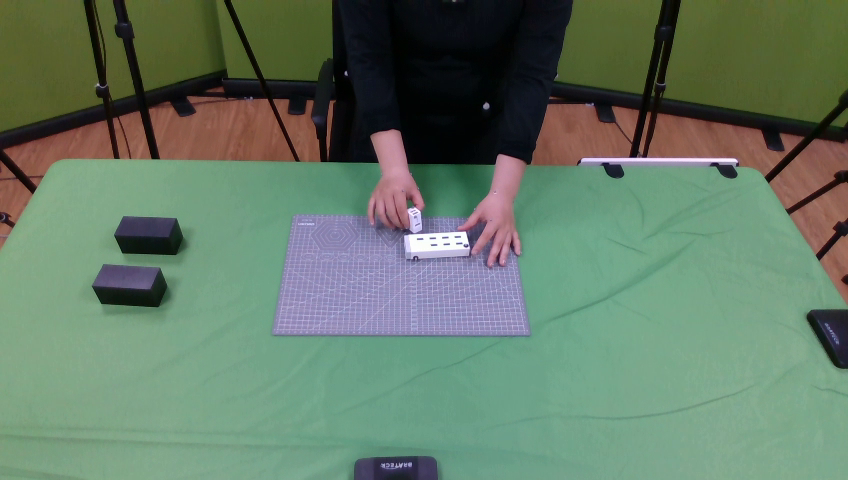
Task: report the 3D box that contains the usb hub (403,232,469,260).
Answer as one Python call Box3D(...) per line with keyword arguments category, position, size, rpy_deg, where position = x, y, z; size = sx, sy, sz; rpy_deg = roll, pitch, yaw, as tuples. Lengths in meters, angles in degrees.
Box3D(category="usb hub", position=(0.023, 0.012, 1.181), size=(0.125, 0.025, 0.049), rpy_deg=(-3, 47, -7))

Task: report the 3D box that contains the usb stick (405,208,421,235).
Box3D(category="usb stick", position=(-0.022, -0.031, 1.197), size=(0.021, 0.059, 0.027), rpy_deg=(-24, 45, -28))
